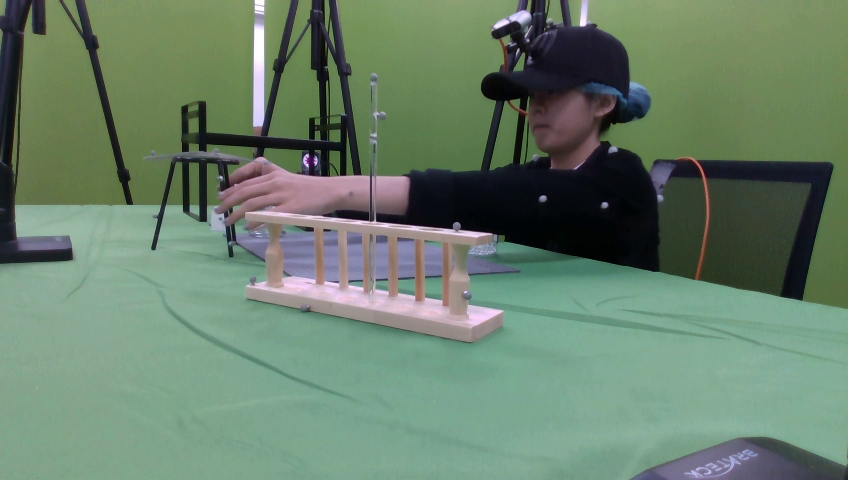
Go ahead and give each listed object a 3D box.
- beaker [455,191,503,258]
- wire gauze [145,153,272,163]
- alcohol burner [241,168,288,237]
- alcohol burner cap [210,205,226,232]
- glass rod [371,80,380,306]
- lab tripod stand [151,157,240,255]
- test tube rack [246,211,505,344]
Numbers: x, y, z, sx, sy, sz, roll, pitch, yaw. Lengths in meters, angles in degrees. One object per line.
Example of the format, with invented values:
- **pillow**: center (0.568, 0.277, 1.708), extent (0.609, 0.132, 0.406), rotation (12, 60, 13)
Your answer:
- **beaker**: center (0.087, -0.025, 0.955), extent (0.074, 0.100, 0.083), rotation (-1, 8, -26)
- **wire gauze**: center (-0.303, -0.117, 0.854), extent (0.121, 0.011, 0.126), rotation (7, 8, 34)
- **alcohol burner**: center (-0.272, -0.065, 1.036), extent (0.078, 0.119, 0.078), rotation (4, 5, 0)
- **alcohol burner cap**: center (-0.376, -0.040, 1.107), extent (0.034, 0.048, 0.034), rotation (2, 7, 0)
- **glass rod**: center (-0.042, -0.039, 0.530), extent (0.008, 0.199, 0.008), rotation (1, 2, 0)
- **lab tripod stand**: center (-0.310, -0.052, 0.866), extent (0.148, 0.131, 0.148), rotation (2, 6, 0)
- **test tube rack**: center (-0.049, 0.025, 0.547), extent (0.241, 0.085, 0.067), rotation (7, 8, 29)
